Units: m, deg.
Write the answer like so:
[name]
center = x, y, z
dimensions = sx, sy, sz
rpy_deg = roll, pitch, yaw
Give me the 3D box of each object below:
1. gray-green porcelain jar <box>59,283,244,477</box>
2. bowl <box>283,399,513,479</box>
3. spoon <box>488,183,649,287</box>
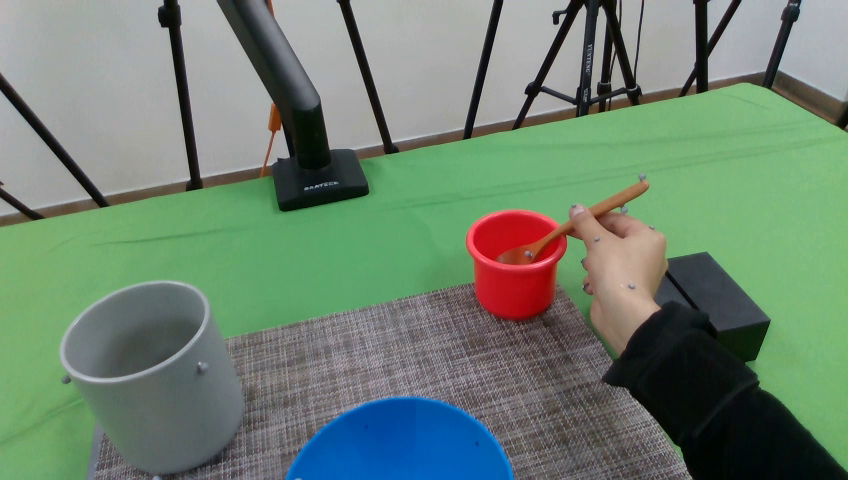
[gray-green porcelain jar]
center = -0.206, 0.114, 0.480
dimensions = 0.106, 0.127, 0.105
rpy_deg = -2, 37, 2
[bowl]
center = -0.015, 0.190, 0.403
dimensions = 0.151, 0.077, 0.150
rpy_deg = -2, 37, 2
[spoon]
center = 0.131, -0.003, 0.579
dimensions = 0.022, 0.194, 0.041
rpy_deg = 26, 49, -24
